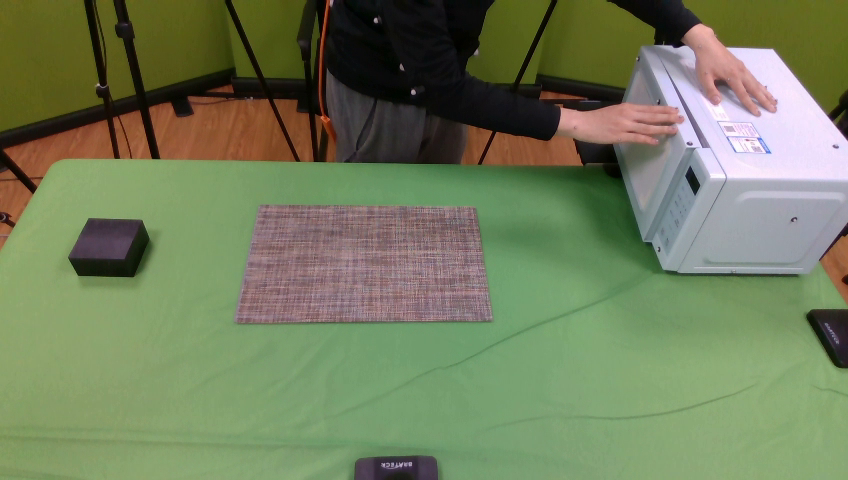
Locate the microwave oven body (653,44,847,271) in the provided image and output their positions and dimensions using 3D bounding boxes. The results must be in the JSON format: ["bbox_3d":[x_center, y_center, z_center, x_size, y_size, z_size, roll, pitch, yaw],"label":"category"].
[{"bbox_3d":[0.620,-0.172,1.234,0.326,0.261,0.439,0,46,-3],"label":"microwave oven body"}]

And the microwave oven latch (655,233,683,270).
[{"bbox_3d":[0.473,0.021,1.175,0.030,0.029,0.078,2,46,-1],"label":"microwave oven latch"}]

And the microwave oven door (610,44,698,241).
[{"bbox_3d":[0.465,-0.208,1.250,0.039,0.245,0.353,2,47,-1],"label":"microwave oven door"}]

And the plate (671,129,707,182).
[{"bbox_3d":[0.602,-0.165,1.305,0.209,0.038,0.208,2,45,-2],"label":"plate"}]
